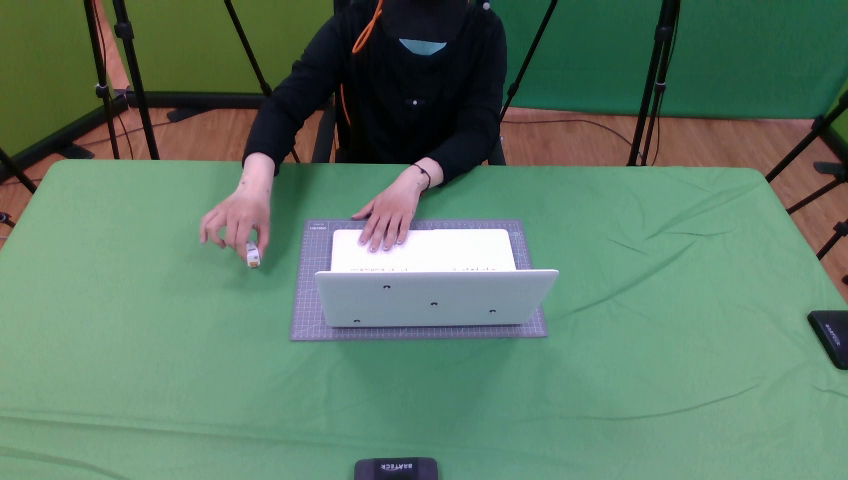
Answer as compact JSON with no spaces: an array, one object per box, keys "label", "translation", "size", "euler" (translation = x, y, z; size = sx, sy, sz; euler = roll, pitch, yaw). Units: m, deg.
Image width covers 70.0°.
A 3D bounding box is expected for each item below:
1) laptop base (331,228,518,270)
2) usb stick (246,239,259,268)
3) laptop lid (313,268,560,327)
[{"label":"laptop base","translation":[0.003,0.063,1.135],"size":[0.355,0.023,0.234],"euler":[-1,43,-4]},{"label":"usb stick","translation":[-0.312,0.026,1.103],"size":[0.021,0.027,0.059],"euler":[-2,43,-19]},{"label":"laptop lid","translation":[0.015,0.095,0.949],"size":[0.357,0.242,0.013],"euler":[0,64,-5]}]
